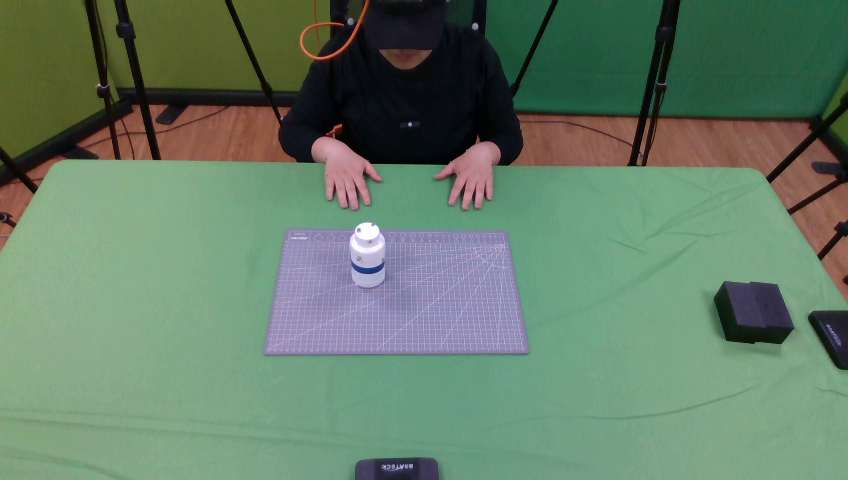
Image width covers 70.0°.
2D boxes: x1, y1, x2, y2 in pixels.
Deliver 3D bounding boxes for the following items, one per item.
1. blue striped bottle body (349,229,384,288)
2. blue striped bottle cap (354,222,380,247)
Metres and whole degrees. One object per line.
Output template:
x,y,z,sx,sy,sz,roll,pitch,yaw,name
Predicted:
-0.103,0.026,1.093,0.063,0.121,0.062,2,46,-2,blue striped bottle body
-0.100,-0.009,1.057,0.044,0.021,0.044,1,46,-1,blue striped bottle cap
